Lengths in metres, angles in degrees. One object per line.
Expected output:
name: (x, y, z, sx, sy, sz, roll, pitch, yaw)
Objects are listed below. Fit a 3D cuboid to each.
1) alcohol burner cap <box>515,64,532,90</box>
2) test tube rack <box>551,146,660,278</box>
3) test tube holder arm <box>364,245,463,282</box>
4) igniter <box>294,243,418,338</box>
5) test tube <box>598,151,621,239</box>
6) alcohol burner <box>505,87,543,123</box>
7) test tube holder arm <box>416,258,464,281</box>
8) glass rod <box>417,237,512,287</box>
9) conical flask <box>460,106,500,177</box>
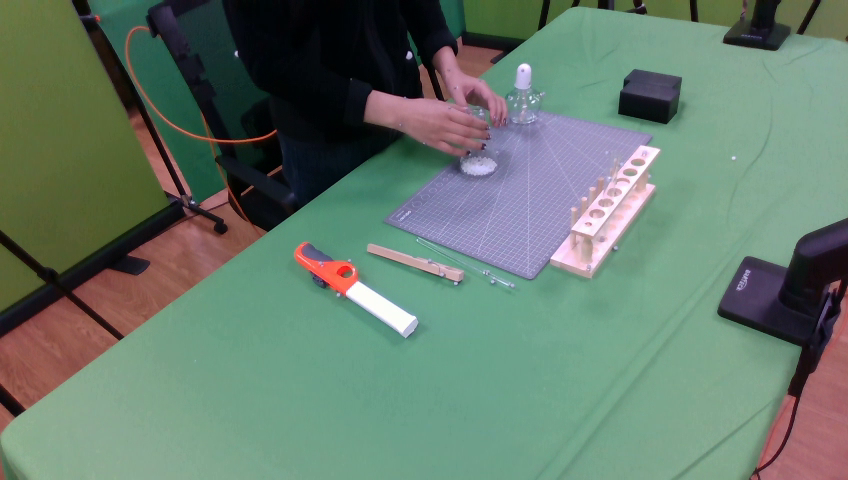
alcohol burner cap: (0.199, -0.325, 1.198, 0.034, 0.048, 0.033, 0, 46, 1)
test tube rack: (0.286, -0.053, 0.943, 0.066, 0.085, 0.243, 21, 49, 32)
test tube holder arm: (-0.020, 0.035, 0.947, 0.177, 0.015, 0.013, 16, 9, 26)
igniter: (-0.114, 0.070, 0.919, 0.274, 0.025, 0.057, 29, 63, 37)
test tube: (0.269, -0.062, 0.880, 0.017, 0.151, 0.017, -3, 39, 3)
alcohol burner: (0.202, -0.298, 1.222, 0.078, 0.119, 0.077, -4, 40, 4)
test tube holder arm: (0.022, 0.045, 0.931, 0.087, 0.015, 0.010, 16, 10, 28)
glass rod: (0.059, 0.032, 0.945, 0.198, 0.008, 0.008, 26, 52, 38)
conical flask: (0.097, -0.181, 1.097, 0.075, 0.122, 0.075, -6, 40, 5)
